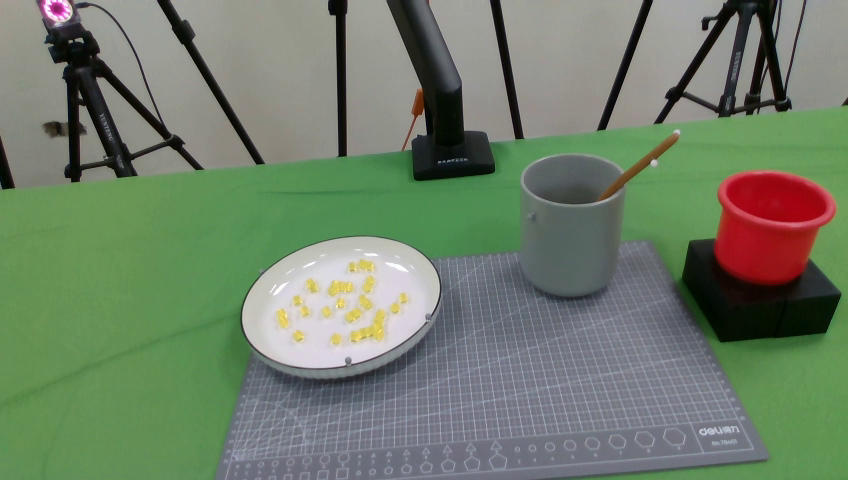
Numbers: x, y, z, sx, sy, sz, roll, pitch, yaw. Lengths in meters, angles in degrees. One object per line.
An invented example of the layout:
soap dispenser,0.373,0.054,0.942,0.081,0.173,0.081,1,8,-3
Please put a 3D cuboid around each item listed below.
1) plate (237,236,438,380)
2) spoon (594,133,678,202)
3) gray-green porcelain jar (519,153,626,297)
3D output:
plate,-0.087,0.071,0.637,0.207,0.039,0.205,-4,36,3
spoon,0.177,-0.038,0.597,0.021,0.194,0.041,47,46,14
gray-green porcelain jar,0.153,-0.012,0.639,0.106,0.127,0.105,-4,37,3
